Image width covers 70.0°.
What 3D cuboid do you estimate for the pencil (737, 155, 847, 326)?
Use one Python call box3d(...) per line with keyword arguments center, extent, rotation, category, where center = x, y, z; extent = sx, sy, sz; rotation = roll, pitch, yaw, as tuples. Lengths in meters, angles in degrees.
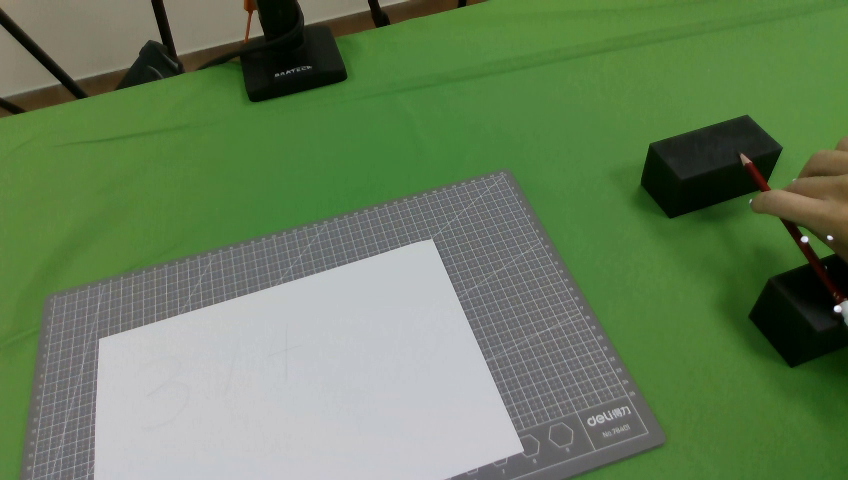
box3d(center=(0.282, -0.003, 0.460), extent=(0.012, 0.012, 0.192), rotation=(-8, 48, 0), category="pencil")
